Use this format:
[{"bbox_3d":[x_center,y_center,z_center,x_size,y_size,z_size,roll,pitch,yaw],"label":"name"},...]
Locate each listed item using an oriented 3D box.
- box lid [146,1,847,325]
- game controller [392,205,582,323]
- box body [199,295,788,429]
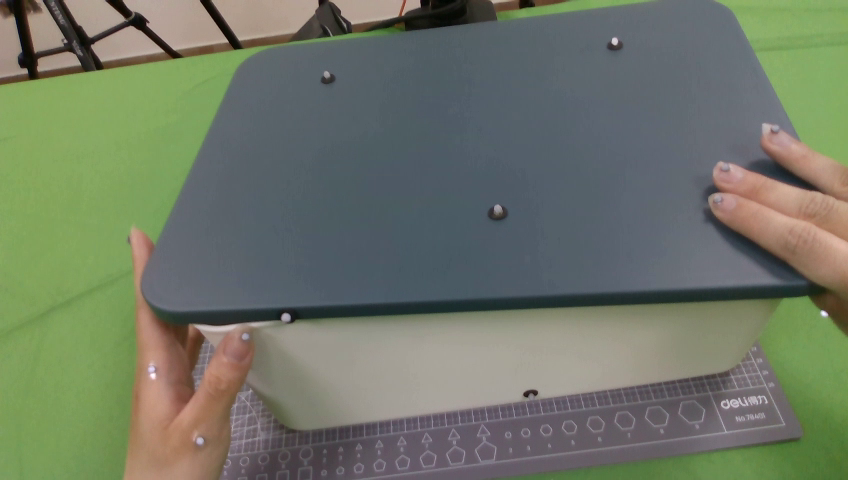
[{"bbox_3d":[0.029,-0.064,0.384,0.371,0.015,0.260,-4,48,8],"label":"box lid"},{"bbox_3d":[0.054,0.013,0.503,0.155,0.052,0.096,5,47,12],"label":"game controller"},{"bbox_3d":[0.047,-0.016,0.459,0.364,0.162,0.251,-8,48,2],"label":"box body"}]
